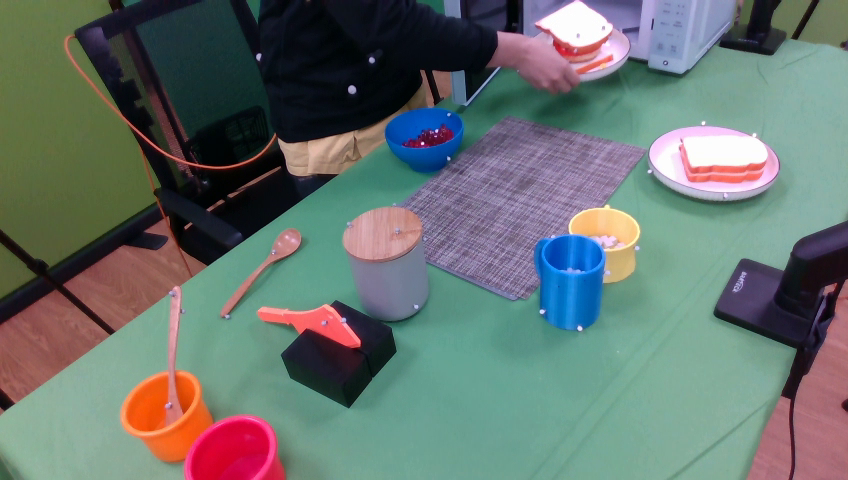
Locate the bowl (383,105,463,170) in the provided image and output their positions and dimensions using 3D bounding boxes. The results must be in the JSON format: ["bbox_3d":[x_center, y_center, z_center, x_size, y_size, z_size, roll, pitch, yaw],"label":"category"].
[{"bbox_3d":[0.002,-0.185,1.143,0.151,0.077,0.150,-4,41,4],"label":"bowl"}]

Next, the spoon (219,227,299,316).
[{"bbox_3d":[-0.261,0.046,0.954,0.041,0.021,0.194,26,48,11],"label":"spoon"}]

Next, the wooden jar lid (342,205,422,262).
[{"bbox_3d":[-0.055,-0.005,0.808,0.108,0.021,0.108,-6,41,6],"label":"wooden jar lid"}]

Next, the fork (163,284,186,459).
[{"bbox_3d":[-0.303,0.157,0.733,0.028,0.019,0.207,-3,84,13],"label":"fork"}]

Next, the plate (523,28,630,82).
[{"bbox_3d":[0.306,-0.373,1.217,0.209,0.038,0.208,-6,43,6],"label":"plate"}]

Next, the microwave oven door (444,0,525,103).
[{"bbox_3d":[0.142,-0.494,1.327,0.039,0.245,0.356,15,45,24],"label":"microwave oven door"}]

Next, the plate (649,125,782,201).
[{"bbox_3d":[0.493,-0.128,1.036,0.207,0.039,0.206,-4,41,4],"label":"plate"}]

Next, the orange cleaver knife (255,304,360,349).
[{"bbox_3d":[-0.161,0.115,0.813,0.210,0.077,0.012,-4,32,47],"label":"orange cleaver knife"}]

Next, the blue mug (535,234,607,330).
[{"bbox_3d":[0.190,0.048,0.824,0.082,0.106,0.115,-26,44,-21],"label":"blue mug"}]

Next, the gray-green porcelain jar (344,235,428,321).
[{"bbox_3d":[-0.049,0.042,0.849,0.106,0.127,0.105,-4,41,4],"label":"gray-green porcelain jar"}]

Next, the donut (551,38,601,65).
[{"bbox_3d":[0.300,-0.388,1.194,0.099,0.048,0.098,-4,61,7],"label":"donut"}]

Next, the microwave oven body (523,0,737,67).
[{"bbox_3d":[0.475,-0.601,1.411,0.438,0.261,0.327,23,50,32],"label":"microwave oven body"}]

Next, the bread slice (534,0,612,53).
[{"bbox_3d":[0.298,-0.415,1.177,0.107,0.018,0.133,-34,55,-10],"label":"bread slice"}]

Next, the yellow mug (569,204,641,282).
[{"bbox_3d":[0.268,-0.005,0.904,0.099,0.064,0.130,7,41,15],"label":"yellow mug"}]

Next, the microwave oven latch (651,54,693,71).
[{"bbox_3d":[0.532,-0.386,1.301,0.078,0.029,0.030,26,52,34],"label":"microwave oven latch"}]

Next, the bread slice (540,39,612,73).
[{"bbox_3d":[0.298,-0.377,1.227,0.105,0.019,0.130,-25,47,-16],"label":"bread slice"}]
